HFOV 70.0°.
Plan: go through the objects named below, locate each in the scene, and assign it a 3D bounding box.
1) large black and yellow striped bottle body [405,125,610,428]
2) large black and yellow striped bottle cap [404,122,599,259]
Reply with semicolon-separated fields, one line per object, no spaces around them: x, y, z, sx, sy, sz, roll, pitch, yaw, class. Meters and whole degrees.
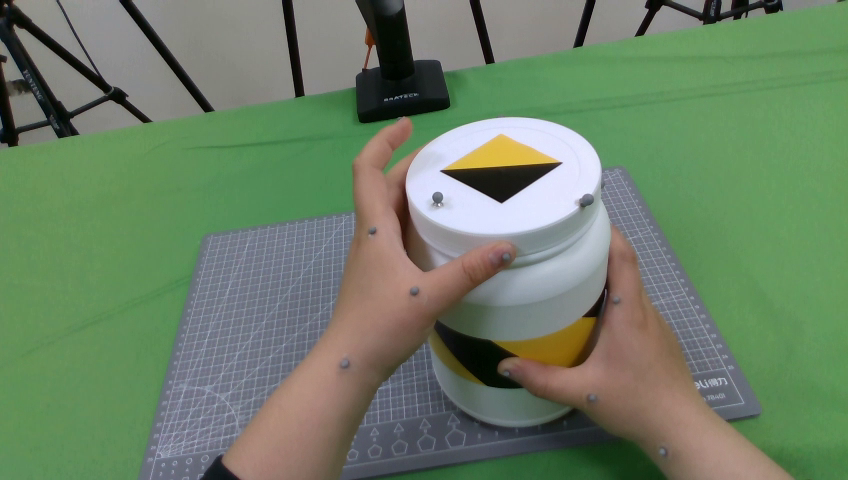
0.058;0.028;0.416;0.130;0.186;0.129;-6;43;6;large black and yellow striped bottle body
0.045;-0.033;0.360;0.115;0.019;0.114;-5;41;5;large black and yellow striped bottle cap
